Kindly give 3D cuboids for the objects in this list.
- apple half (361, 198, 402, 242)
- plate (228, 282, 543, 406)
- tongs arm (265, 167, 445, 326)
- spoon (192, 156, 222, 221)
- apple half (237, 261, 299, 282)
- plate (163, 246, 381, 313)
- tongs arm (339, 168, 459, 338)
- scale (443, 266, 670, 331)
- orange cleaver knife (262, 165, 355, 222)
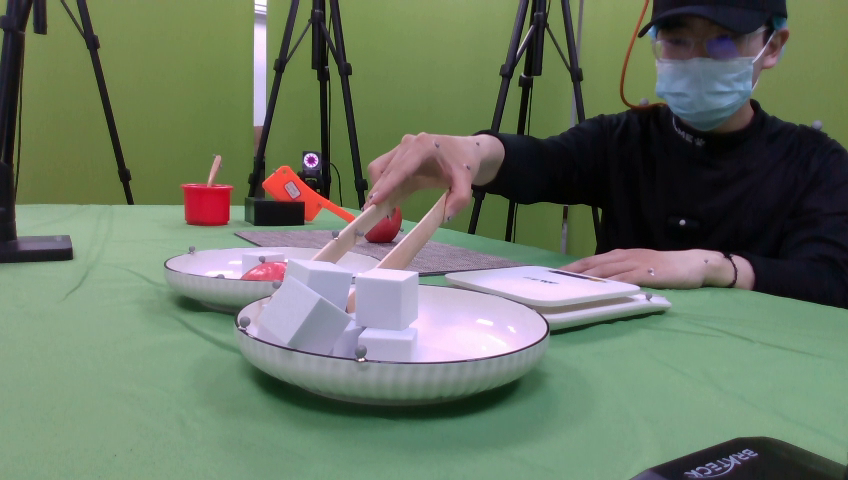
[{"bbox_3d":[-0.066,-0.032,1.014,0.053,0.074,0.081,9,6,21],"label":"apple half"},{"bbox_3d":[-0.025,0.067,0.413,0.208,0.039,0.207,3,7,0],"label":"plate"},{"bbox_3d":[-0.042,-0.015,0.586,0.050,0.026,0.385,5,21,12],"label":"tongs arm"},{"bbox_3d":[-0.430,-0.108,1.222,0.041,0.021,0.193,-2,52,1],"label":"spoon"},{"bbox_3d":[-0.141,0.036,0.578,0.081,0.033,0.081,2,11,0],"label":"apple half"},{"bbox_3d":[-0.146,0.038,0.600,0.209,0.038,0.209,2,7,0],"label":"plate"},{"bbox_3d":[-0.009,-0.010,0.578,0.028,0.028,0.388,2,21,14],"label":"tongs arm"},{"bbox_3d":[0.131,0.052,0.603,0.202,0.031,0.148,-2,9,-37],"label":"scale"},{"bbox_3d":[-0.243,-0.081,1.292,0.212,0.077,0.012,34,-8,-26],"label":"orange cleaver knife"}]
